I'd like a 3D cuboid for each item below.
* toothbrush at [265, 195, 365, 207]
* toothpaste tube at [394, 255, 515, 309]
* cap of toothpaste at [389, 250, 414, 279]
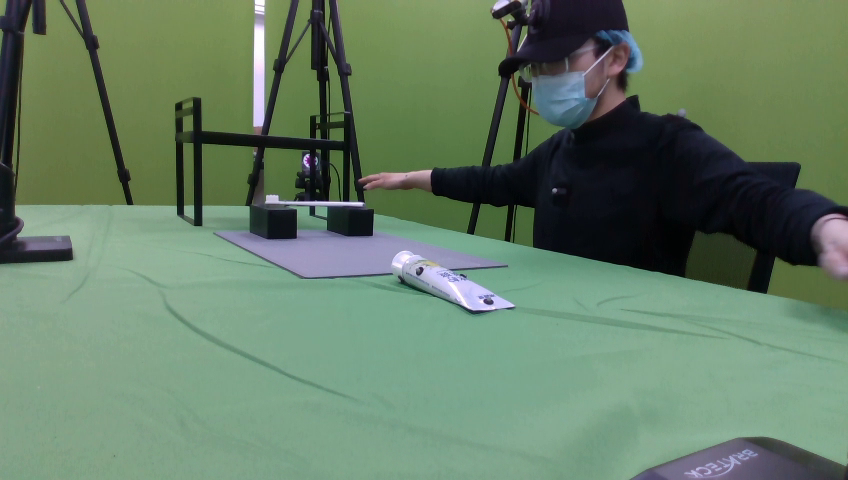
[{"bbox_3d":[-0.192,-0.068,1.081,0.183,0.016,0.014,1,-8,-26],"label":"toothbrush"},{"bbox_3d":[0.020,0.046,0.636,0.055,0.034,0.164,-6,15,-35],"label":"toothpaste tube"},{"bbox_3d":[-0.023,0.030,0.700,0.037,0.037,0.011,-3,13,-35],"label":"cap of toothpaste"}]
